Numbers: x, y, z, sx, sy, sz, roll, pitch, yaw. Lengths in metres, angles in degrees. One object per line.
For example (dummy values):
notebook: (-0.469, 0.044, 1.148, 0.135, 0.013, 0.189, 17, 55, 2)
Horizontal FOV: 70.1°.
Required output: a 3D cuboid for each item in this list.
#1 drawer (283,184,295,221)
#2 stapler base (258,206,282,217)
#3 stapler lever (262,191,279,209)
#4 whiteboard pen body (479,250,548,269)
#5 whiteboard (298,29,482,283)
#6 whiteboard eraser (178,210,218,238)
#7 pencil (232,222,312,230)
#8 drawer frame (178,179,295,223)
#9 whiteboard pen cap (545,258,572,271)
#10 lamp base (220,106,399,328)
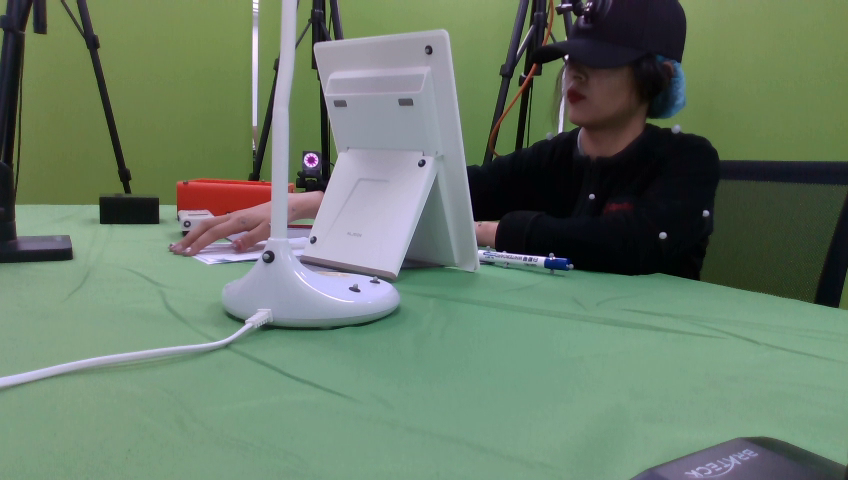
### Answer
drawer: (-0.394, -0.087, 1.317, 0.212, 0.073, 0.194, 1, 8, -7)
stapler base: (-0.331, -0.065, 1.305, 0.041, 0.024, 0.130, 9, -2, -9)
stapler lever: (-0.329, -0.086, 1.306, 0.027, 0.040, 0.118, 9, 3, -9)
whiteboard pen body: (0.130, 0.028, 0.827, 0.140, 0.017, 0.017, 6, 8, 38)
whiteboard: (-0.075, -0.082, 0.742, 0.216, 0.305, 0.144, 9, 29, 37)
whiteboard eraser: (-0.380, -0.027, 1.014, 0.056, 0.042, 0.112, 0, 8, -25)
pencil: (-0.261, -0.025, 1.141, 0.195, 0.012, 0.012, 2, 7, -26)
drawer frame: (-0.397, -0.088, 1.315, 0.214, 0.082, 0.201, 1, 8, -7)
whiteboard pen cap: (0.175, 0.032, 0.790, 0.033, 0.018, 0.018, 4, 7, 37)
lamp base: (-0.102, -0.023, 0.531, 0.160, 0.180, 0.179, 4, 10, 10)
